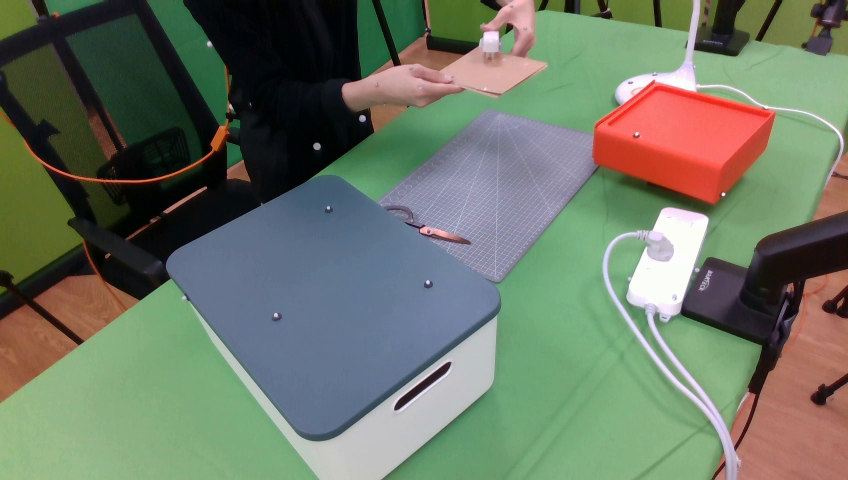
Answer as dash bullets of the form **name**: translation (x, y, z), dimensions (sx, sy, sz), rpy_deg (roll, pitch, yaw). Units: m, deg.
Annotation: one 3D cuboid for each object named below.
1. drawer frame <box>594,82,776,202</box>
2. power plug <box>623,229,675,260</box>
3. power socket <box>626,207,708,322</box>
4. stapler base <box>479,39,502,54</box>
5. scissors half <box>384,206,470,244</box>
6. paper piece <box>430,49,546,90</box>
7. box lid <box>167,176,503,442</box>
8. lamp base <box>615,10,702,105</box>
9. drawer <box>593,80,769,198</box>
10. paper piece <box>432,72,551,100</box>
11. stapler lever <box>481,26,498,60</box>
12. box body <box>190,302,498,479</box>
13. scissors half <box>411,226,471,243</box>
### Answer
- **drawer frame**: translation (0.428, -0.171, 1.006), dimensions (0.211, 0.083, 0.202), rpy_deg (29, 51, 36)
- **power plug**: translation (0.327, 0.007, 0.878), dimensions (0.072, 0.053, 0.035), rpy_deg (25, 51, 32)
- **power socket**: translation (0.360, 0.026, 0.886), dimensions (0.072, 0.033, 0.227), rpy_deg (16, 46, 26)
- **stapler base**: translation (0.113, -0.325, 1.032), dimensions (0.041, 0.024, 0.130), rpy_deg (5, 36, 4)
- **scissors half**: translation (0.001, -0.024, 1.005), dimensions (0.174, 0.013, 0.040), rpy_deg (22, 56, 25)
- **paper piece**: translation (0.104, -0.271, 0.960), dimensions (0.137, 0.009, 0.136), rpy_deg (23, 42, 32)
- **box lid**: translation (-0.119, 0.047, 0.714), dimensions (0.264, 0.015, 0.368), rpy_deg (-32, 47, -27)
- **lamp base**: translation (0.484, -0.364, 1.211), dimensions (0.180, 0.181, 0.159), rpy_deg (-15, 41, -14)
- **drawer**: translation (0.423, -0.174, 1.008), dimensions (0.210, 0.073, 0.195), rpy_deg (30, 52, 35)
- **paper piece**: translation (0.106, -0.258, 0.959), dimensions (0.136, 0.004, 0.134), rpy_deg (-29, 43, -33)
- **stapler lever**: translation (0.112, -0.342, 1.021), dimensions (0.027, 0.040, 0.117), rpy_deg (4, 41, 4)
- **box body**: translation (-0.110, 0.103, 0.761), dimensions (0.255, 0.161, 0.361), rpy_deg (-33, 46, -27)
- **scissors half**: translation (-0.007, -0.010, 0.993), dimensions (0.174, 0.013, 0.040), rpy_deg (8, 46, 15)
